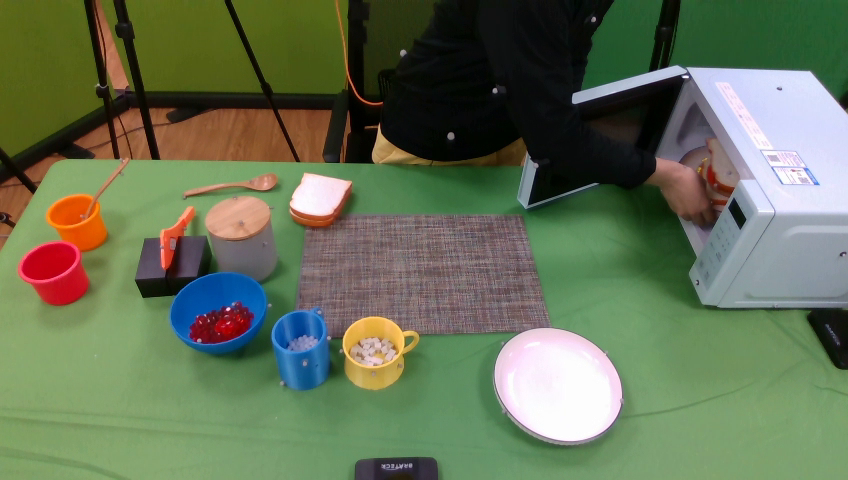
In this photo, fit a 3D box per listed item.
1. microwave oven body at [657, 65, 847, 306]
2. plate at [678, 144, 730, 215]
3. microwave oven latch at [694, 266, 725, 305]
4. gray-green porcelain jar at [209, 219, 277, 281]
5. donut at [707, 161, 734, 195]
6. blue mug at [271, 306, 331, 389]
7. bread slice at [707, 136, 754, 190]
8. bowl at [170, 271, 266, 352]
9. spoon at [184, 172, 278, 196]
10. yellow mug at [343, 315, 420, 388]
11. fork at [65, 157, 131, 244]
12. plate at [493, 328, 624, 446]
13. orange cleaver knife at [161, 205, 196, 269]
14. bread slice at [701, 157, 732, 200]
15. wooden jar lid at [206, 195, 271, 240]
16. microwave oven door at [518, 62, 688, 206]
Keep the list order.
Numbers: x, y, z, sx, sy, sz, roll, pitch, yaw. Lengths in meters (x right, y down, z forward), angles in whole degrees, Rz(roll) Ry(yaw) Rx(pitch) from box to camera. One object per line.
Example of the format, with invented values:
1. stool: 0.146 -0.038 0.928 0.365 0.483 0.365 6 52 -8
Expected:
1. microwave oven body: 0.669 -0.111 1.176 0.326 0.261 0.439 0 46 -3
2. plate: 0.621 -0.115 1.226 0.209 0.038 0.208 -1 49 2
3. microwave oven latch: 0.523 0.082 1.115 0.030 0.029 0.078 3 46 0
4. gray-green porcelain jar: -0.323 0.007 1.092 0.106 0.127 0.105 2 46 -2
5. donut: 0.616 -0.132 1.205 0.099 0.048 0.098 -4 57 6
6. blue mug: -0.188 0.163 0.969 0.082 0.106 0.116 15 47 10
7. bread slice: 0.620 -0.152 1.185 0.107 0.018 0.133 -1 55 9
8. bowl: -0.333 0.132 1.006 0.151 0.077 0.150 2 46 -2
9. spoon: -0.405 -0.116 1.275 0.194 0.022 0.041 -8 65 -12
10. yellow mug: -0.067 0.177 0.990 0.131 0.064 0.099 -16 50 -19
11. fork: -0.609 -0.074 1.133 0.207 0.019 0.028 -52 51 10
12. plate: 0.213 0.236 0.974 0.208 0.039 0.206 2 46 -2
13. orange cleaver knife: -0.454 -0.010 1.129 0.012 0.077 0.210 -2 20 -5
14. bread slice: 0.621 -0.119 1.240 0.105 0.019 0.131 10 61 11
15. wooden jar lid: -0.319 -0.036 1.046 0.108 0.021 0.107 1 44 0
16. microwave oven door: 0.368 -0.218 1.250 0.356 0.245 0.039 -19 51 -20
